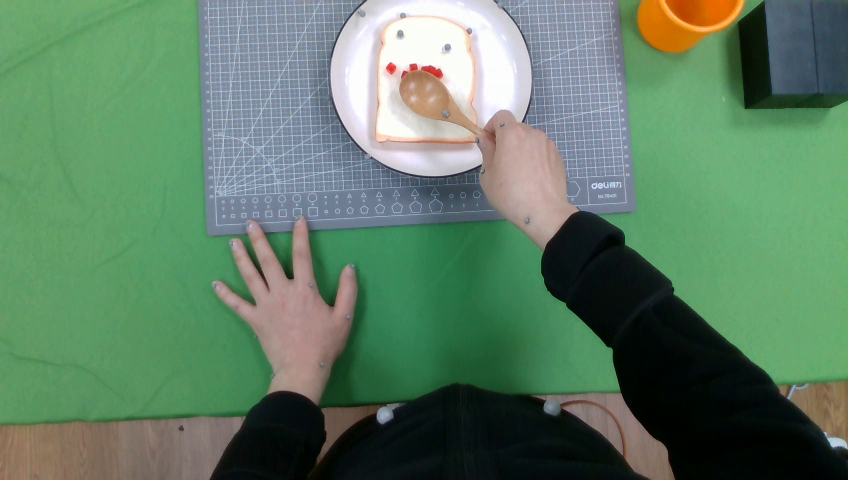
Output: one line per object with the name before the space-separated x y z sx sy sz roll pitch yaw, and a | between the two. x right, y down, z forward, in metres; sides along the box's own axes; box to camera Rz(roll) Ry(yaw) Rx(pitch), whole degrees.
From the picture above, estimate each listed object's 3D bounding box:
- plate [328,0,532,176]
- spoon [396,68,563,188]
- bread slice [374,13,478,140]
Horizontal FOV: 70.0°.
plate | 0.007 -0.167 0.628 0.209 0.038 0.208 0 86 -3
spoon | 0.052 -0.106 0.582 0.192 0.022 0.041 38 84 16
bread slice | -0.001 -0.168 0.629 0.107 0.018 0.134 -3 86 -4
